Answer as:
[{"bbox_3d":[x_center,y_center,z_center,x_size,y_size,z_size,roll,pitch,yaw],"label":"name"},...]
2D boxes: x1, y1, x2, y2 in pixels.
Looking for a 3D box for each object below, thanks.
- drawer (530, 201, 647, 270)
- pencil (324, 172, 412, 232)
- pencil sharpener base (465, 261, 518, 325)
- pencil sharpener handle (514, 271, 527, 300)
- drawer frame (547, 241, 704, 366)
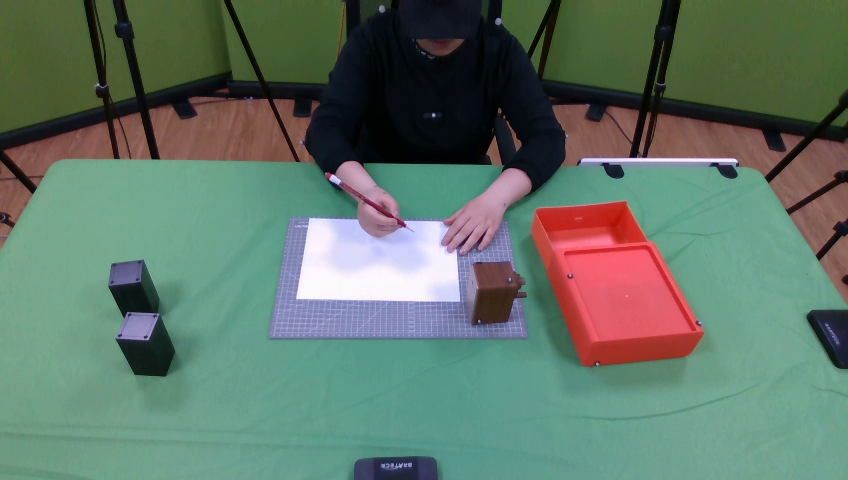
[{"bbox_3d":[0.329,0.025,1.159,0.195,0.073,0.210,-4,46,-9],"label":"drawer"},{"bbox_3d":[-0.102,-0.068,1.124,0.194,0.012,0.012,34,47,-9],"label":"pencil"},{"bbox_3d":[0.117,0.093,1.052,0.077,0.107,0.061,-3,46,-7],"label":"pencil sharpener base"},{"bbox_3d":[0.169,0.081,1.051,0.031,0.068,0.035,-3,48,-7],"label":"pencil sharpener handle"},{"bbox_3d":[0.348,0.106,1.077,0.202,0.083,0.212,-4,47,-9],"label":"drawer frame"}]
